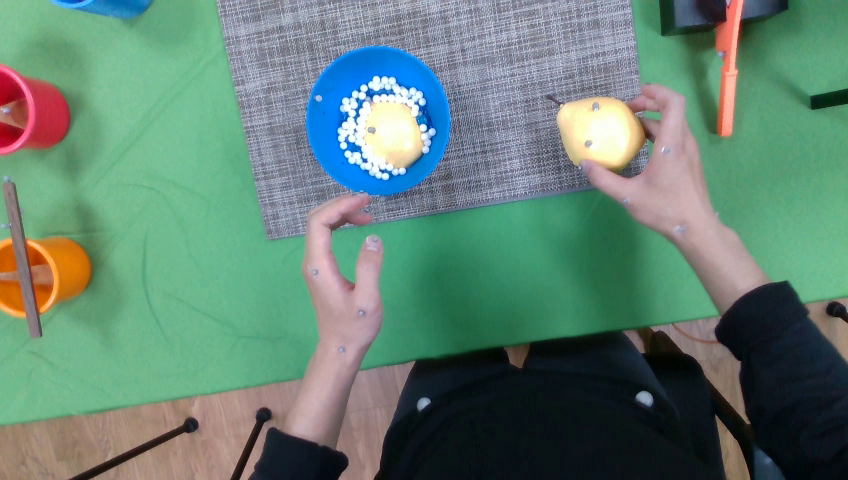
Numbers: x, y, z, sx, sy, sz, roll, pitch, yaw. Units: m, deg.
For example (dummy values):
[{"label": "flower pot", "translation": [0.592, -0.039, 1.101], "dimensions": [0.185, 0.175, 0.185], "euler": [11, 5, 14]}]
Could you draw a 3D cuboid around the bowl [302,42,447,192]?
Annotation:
[{"label": "bowl", "translation": [-0.048, -0.129, 0.654], "dimensions": [0.151, 0.076, 0.151], "euler": [1, 99, 4]}]

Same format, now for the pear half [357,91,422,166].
[{"label": "pear half", "translation": [-0.042, -0.123, 0.648], "dimensions": [0.070, 0.031, 0.088], "euler": [-36, 90, 7]}]

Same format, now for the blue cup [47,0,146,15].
[{"label": "blue cup", "translation": [-0.349, -0.282, 0.645], "dimensions": [0.092, 0.100, 0.093], "euler": [1, 99, 6]}]

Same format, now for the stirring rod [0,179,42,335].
[{"label": "stirring rod", "translation": [-0.447, 0.021, 0.672], "dimensions": [0.014, 0.006, 0.176], "euler": [-5, 99, 2]}]

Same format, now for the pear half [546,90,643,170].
[{"label": "pear half", "translation": [0.170, -0.125, 0.619], "dimensions": [0.109, 0.056, 0.076], "euler": [36, 79, 7]}]

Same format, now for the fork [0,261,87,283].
[{"label": "fork", "translation": [-0.497, 0.037, 0.680], "dimensions": [0.209, 0.018, 0.028], "euler": [2, 111, -40]}]

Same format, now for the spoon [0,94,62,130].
[{"label": "spoon", "translation": [-0.506, -0.138, 0.658], "dimensions": [0.194, 0.021, 0.042], "euler": [-10, 102, -38]}]

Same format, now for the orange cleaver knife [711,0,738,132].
[{"label": "orange cleaver knife", "translation": [0.305, -0.215, 0.617], "dimensions": [0.012, 0.076, 0.213], "euler": [-7, 127, 11]}]
